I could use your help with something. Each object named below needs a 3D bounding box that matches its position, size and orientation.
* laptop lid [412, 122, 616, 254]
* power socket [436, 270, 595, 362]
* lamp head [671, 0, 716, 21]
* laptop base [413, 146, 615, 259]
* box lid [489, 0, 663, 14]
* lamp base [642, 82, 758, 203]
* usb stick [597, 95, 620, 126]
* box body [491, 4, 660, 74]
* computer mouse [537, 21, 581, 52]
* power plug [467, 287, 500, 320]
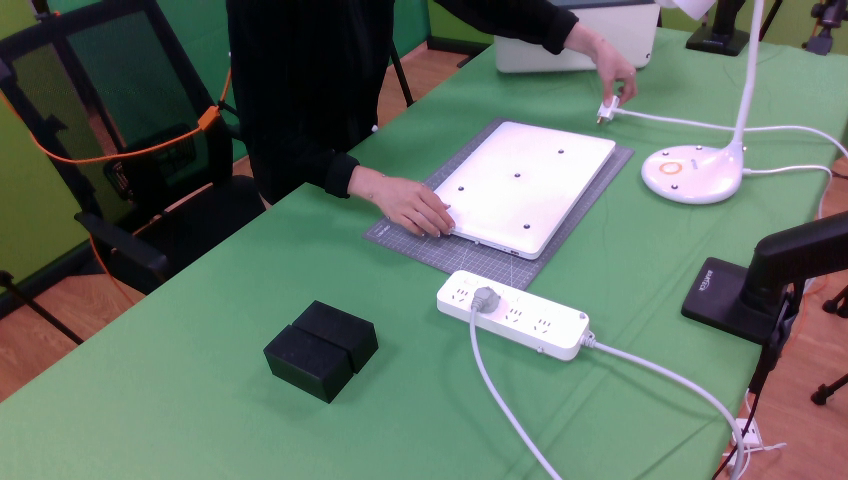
[{"bbox_3d":[0.165,-0.110,1.066,0.240,0.013,0.357,19,46,31],"label":"laptop lid"},{"bbox_3d":[0.118,0.101,0.832,0.225,0.033,0.072,19,48,27],"label":"power socket"},{"bbox_3d":[0.375,-0.373,0.807,0.122,0.113,0.112,-40,27,32],"label":"lamp head"},{"bbox_3d":[0.168,-0.101,1.073,0.234,0.023,0.355,16,45,30],"label":"laptop base"},{"bbox_3d":[0.340,-0.575,1.380,0.371,0.015,0.262,0,41,9],"label":"box lid"},{"bbox_3d":[0.464,-0.174,0.992,0.179,0.181,0.159,-5,41,-2],"label":"lamp base"},{"bbox_3d":[0.360,-0.252,1.188,0.027,0.059,0.022,27,7,40],"label":"usb stick"},{"bbox_3d":[0.346,-0.520,1.429,0.363,0.161,0.253,0,41,9],"label":"box body"},{"bbox_3d":[0.335,-0.503,1.487,0.118,0.041,0.062,22,20,-28],"label":"computer mouse"},{"bbox_3d":[0.073,0.092,0.814,0.035,0.053,0.073,29,54,34],"label":"power plug"}]
